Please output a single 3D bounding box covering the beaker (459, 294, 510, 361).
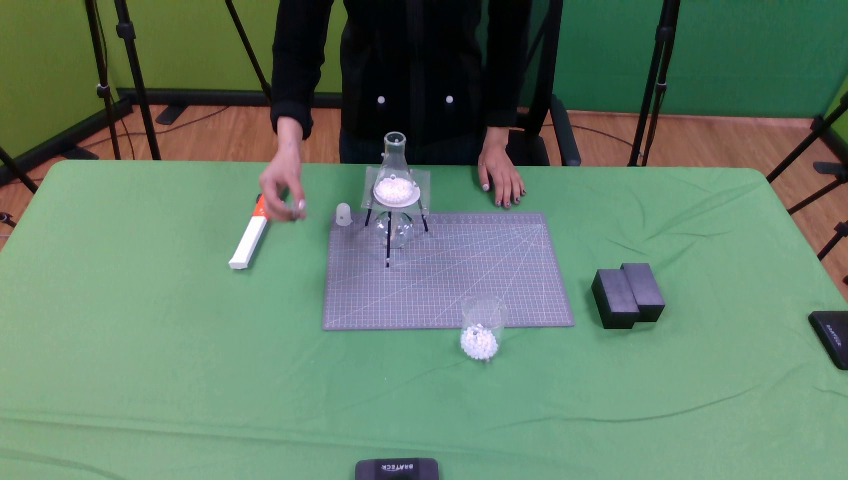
[{"bbox_3d":[0.095,0.147,1.012,0.083,0.101,0.074,26,49,21],"label":"beaker"}]

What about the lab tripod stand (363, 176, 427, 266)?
[{"bbox_3d":[-0.058,-0.047,1.159,0.148,0.132,0.147,3,44,-2],"label":"lab tripod stand"}]

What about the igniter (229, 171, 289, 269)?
[{"bbox_3d":[-0.328,-0.049,1.218,0.057,0.025,0.275,1,45,11],"label":"igniter"}]

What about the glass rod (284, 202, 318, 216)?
[{"bbox_3d":[-0.207,-0.052,1.033,0.008,0.200,0.008,0,88,4],"label":"glass rod"}]

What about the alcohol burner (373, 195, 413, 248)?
[{"bbox_3d":[-0.059,-0.041,1.167,0.078,0.119,0.077,4,46,-4],"label":"alcohol burner"}]

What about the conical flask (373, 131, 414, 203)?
[{"bbox_3d":[-0.053,-0.131,1.066,0.075,0.122,0.075,2,44,-2],"label":"conical flask"}]

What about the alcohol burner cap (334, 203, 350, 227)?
[{"bbox_3d":[-0.166,-0.053,1.221,0.034,0.048,0.033,2,46,-2],"label":"alcohol burner cap"}]

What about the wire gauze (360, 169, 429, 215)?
[{"bbox_3d":[-0.052,-0.092,1.111,0.125,0.011,0.120,3,43,1],"label":"wire gauze"}]
